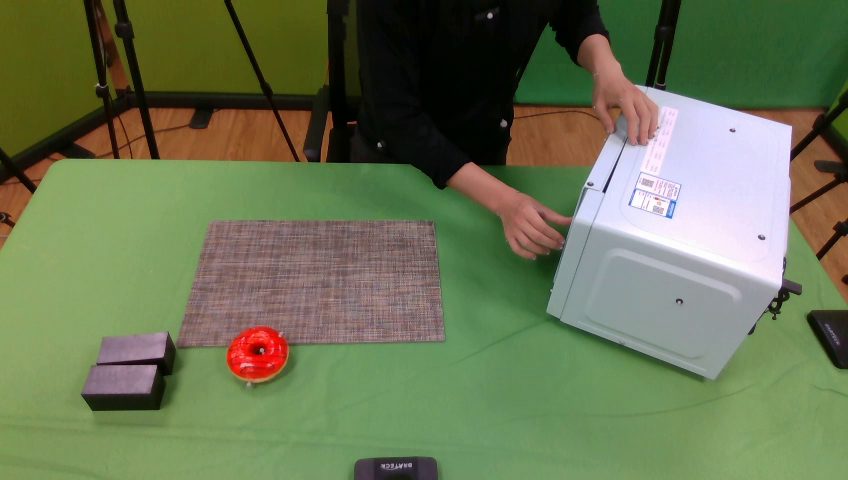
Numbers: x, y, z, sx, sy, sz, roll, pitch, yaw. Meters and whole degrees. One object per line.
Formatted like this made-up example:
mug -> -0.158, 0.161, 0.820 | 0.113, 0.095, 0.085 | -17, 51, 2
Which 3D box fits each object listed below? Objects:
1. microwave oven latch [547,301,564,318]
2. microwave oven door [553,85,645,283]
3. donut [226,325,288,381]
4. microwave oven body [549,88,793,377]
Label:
microwave oven latch -> 0.243, 0.102, 1.081 | 0.030, 0.029, 0.079 | 21, 48, 17
microwave oven door -> 0.338, -0.109, 1.150 | 0.039, 0.245, 0.355 | 22, 48, 16
donut -> -0.270, 0.182, 0.983 | 0.099, 0.048, 0.098 | 5, 49, -5
microwave oven body -> 0.456, -0.028, 1.088 | 0.325, 0.261, 0.440 | 20, 47, 16
